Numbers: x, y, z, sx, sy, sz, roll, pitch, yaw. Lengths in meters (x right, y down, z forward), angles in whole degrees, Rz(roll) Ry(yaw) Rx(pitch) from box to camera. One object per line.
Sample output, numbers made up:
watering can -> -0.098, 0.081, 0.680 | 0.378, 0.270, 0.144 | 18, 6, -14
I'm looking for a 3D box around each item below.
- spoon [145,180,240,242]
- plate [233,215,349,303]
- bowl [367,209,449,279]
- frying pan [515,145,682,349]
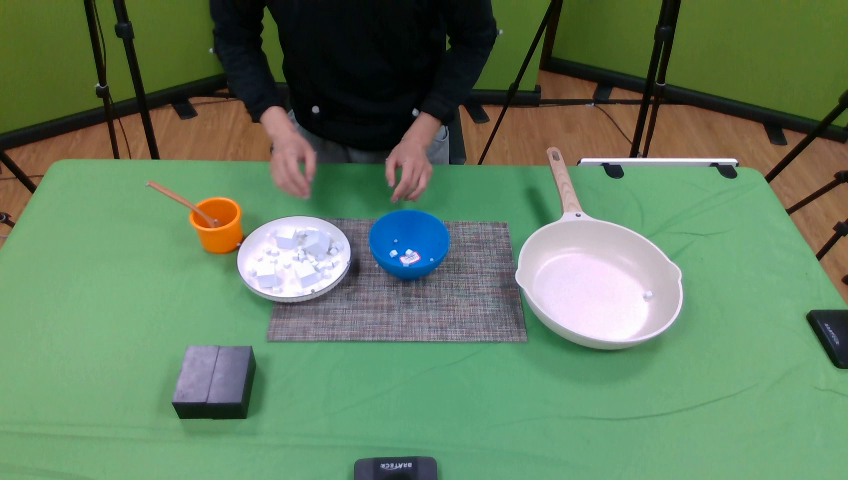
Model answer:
spoon -> -0.428, -0.055, 1.130 | 0.021, 0.195, 0.041 | -30, 35, 30
plate -> -0.244, 0.039, 1.125 | 0.208, 0.039, 0.206 | 3, 46, -2
bowl -> -0.031, 0.020, 1.131 | 0.151, 0.077, 0.150 | 2, 46, -2
frying pan -> 0.303, -0.004, 1.168 | 0.307, 0.103, 0.484 | -2, 55, -7
